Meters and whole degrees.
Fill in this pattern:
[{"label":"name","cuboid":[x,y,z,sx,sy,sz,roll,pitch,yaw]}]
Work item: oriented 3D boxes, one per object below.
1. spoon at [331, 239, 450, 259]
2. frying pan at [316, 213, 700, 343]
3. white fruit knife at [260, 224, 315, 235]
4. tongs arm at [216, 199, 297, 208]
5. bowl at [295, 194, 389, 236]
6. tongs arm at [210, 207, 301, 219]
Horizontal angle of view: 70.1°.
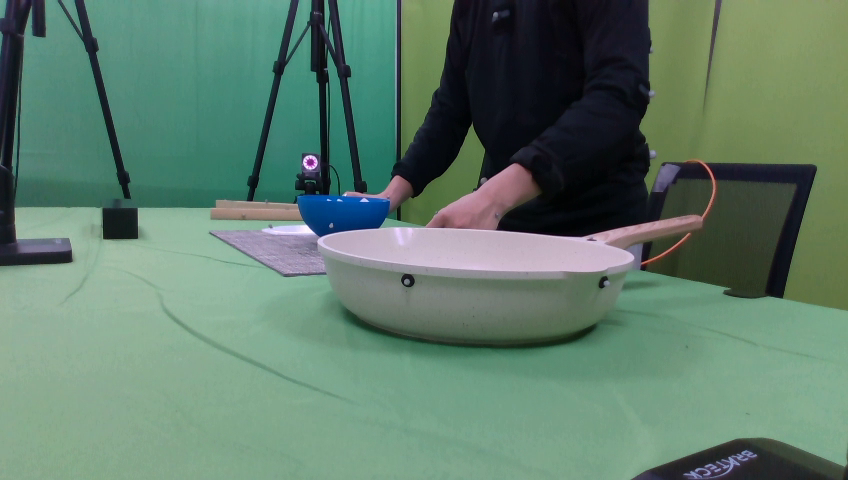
[{"label":"spoon","cuboid":[-0.044,0.009,0.885,0.195,0.021,0.041,-6,22,-28]},{"label":"frying pan","cuboid":[0.133,0.013,0.629,0.490,0.102,0.305,-12,14,-30]},{"label":"white fruit knife","cuboid":[-0.197,-0.022,1.108,0.208,0.027,0.016,-2,-31,-33]},{"label":"tongs arm","cuboid":[-0.307,-0.076,1.469,0.386,0.026,0.050,2,8,-10]},{"label":"bowl","cuboid":[-0.132,-0.032,0.980,0.151,0.077,0.151,2,7,0]},{"label":"tongs arm","cuboid":[-0.287,-0.061,1.392,0.389,0.028,0.028,0,5,-23]}]
